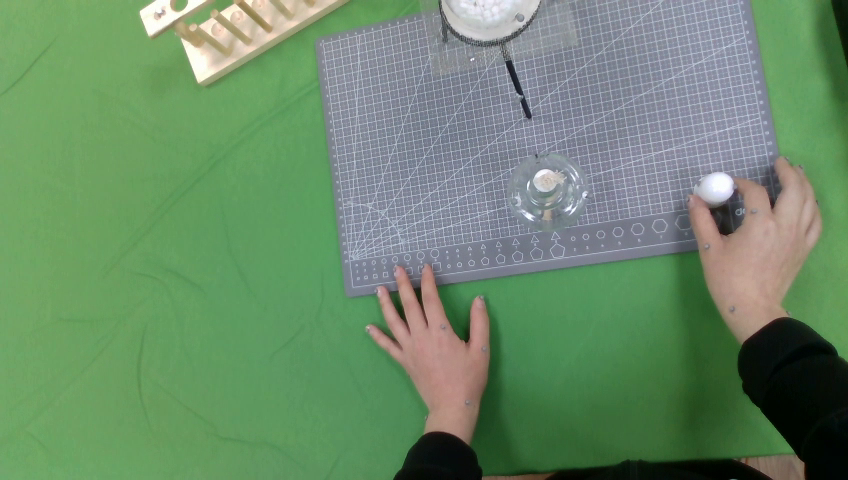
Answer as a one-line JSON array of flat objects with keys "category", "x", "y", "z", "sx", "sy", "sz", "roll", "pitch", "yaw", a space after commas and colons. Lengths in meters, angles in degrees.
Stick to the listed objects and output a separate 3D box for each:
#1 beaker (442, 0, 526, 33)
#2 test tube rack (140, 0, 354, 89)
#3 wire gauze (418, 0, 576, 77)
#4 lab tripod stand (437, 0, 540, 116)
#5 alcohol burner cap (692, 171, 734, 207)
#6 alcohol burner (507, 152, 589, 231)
[{"category": "beaker", "x": 0.039, "y": -0.210, "z": 0.468, "sx": 0.083, "sy": 0.100, "sz": 0.074, "roll": 5, "pitch": 88, "yaw": 15}, {"category": "test tube rack", "x": -0.183, "y": -0.267, "z": 0.675, "sx": 0.242, "sy": 0.085, "sz": 0.066, "roll": -26, "pitch": 80, "yaw": 12}, {"category": "wire gauze", "x": 0.056, "y": -0.207, "z": 0.513, "sx": 0.125, "sy": 0.011, "sz": 0.121, "roll": -9, "pitch": 88, "yaw": 11}, {"category": "lab tripod stand", "x": 0.073, "y": -0.202, "z": 0.576, "sx": 0.148, "sy": 0.132, "sz": 0.148, "roll": -1, "pitch": 87, "yaw": 13}, {"category": "alcohol burner cap", "x": 0.270, "y": -0.049, "z": 0.563, "sx": 0.034, "sy": 0.048, "sz": 0.034, "roll": -1, "pitch": 86, "yaw": 15}, {"category": "alcohol burner", "x": 0.115, "y": -0.048, "z": 0.567, "sx": 0.078, "sy": 0.119, "sz": 0.077, "roll": -1, "pitch": 85, "yaw": 13}]
